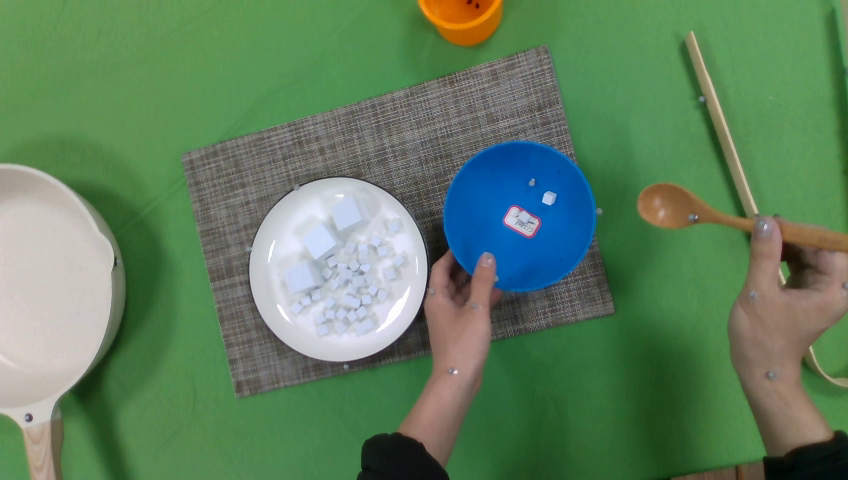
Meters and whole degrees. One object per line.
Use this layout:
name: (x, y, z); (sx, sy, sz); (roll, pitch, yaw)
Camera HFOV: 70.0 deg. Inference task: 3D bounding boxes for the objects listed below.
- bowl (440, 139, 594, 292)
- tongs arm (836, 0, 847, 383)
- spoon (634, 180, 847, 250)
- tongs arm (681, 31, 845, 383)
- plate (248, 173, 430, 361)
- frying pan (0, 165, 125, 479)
bowl: (0.096, -0.023, 0.630); (0.151, 0.077, 0.151); (0, 90, 9)
tongs arm: (0.418, -0.052, 0.604); (0.050, 0.026, 0.384); (-7, 90, 10)
spoon: (0.244, -0.016, 0.473); (0.022, 0.192, 0.042); (-12, 109, -25)
tongs arm: (0.340, -0.035, 0.621); (0.028, 0.028, 0.387); (-21, 87, 6)
plate: (-0.094, 0.030, 0.682); (0.207, 0.039, 0.207); (0, 90, 10)
frying pan: (-0.464, 0.157, 0.712); (0.306, 0.103, 0.485); (-17, 79, 10)
